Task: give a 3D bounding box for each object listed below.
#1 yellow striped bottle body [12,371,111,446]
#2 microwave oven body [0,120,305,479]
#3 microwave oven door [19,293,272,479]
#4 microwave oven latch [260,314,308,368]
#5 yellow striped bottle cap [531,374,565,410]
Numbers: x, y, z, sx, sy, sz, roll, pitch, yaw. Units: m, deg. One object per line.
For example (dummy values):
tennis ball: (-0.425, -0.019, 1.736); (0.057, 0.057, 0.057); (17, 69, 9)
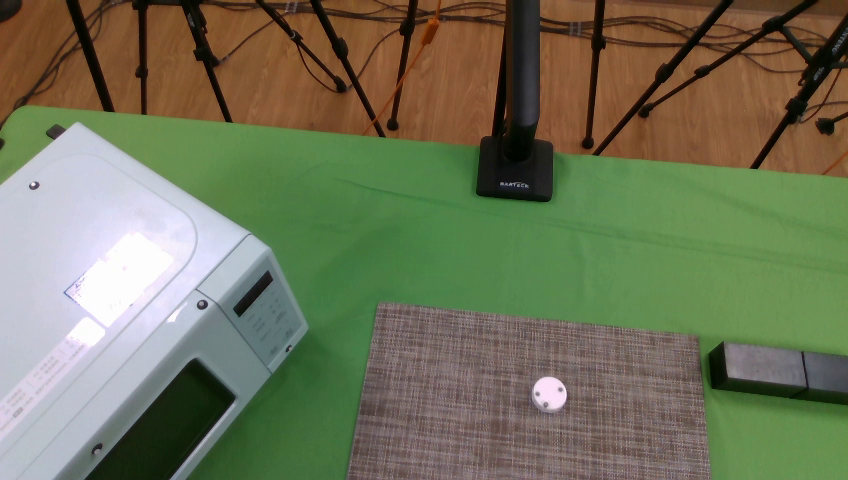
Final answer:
yellow striped bottle body: (-0.406, 0.187, 0.677); (0.063, 0.121, 0.062); (1, 60, -1)
microwave oven body: (-0.412, 0.140, 0.694); (0.324, 0.262, 0.440); (31, 66, 15)
microwave oven door: (-0.315, 0.239, 0.634); (0.039, 0.246, 0.354); (30, 66, 17)
microwave oven latch: (-0.188, 0.130, 0.809); (0.030, 0.030, 0.079); (32, 67, 16)
yellow striped bottle cap: (0.163, 0.200, 0.798); (0.044, 0.019, 0.044); (-1, 61, 2)
